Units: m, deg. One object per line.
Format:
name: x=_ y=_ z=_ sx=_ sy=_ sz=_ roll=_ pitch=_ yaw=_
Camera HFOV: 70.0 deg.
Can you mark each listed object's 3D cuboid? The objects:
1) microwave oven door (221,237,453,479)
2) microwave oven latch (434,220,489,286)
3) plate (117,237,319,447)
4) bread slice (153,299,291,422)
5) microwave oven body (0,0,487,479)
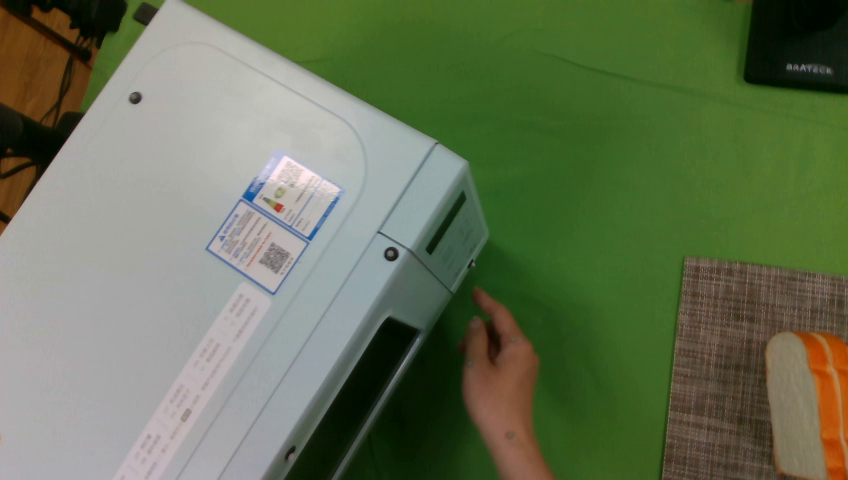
microwave oven door: x=-0.096 y=0.171 z=0.528 sx=0.039 sy=0.245 sz=0.355 roll=31 pitch=85 yaw=16
microwave oven latch: x=0.039 y=0.009 z=0.643 sx=0.030 sy=0.029 sz=0.079 roll=33 pitch=86 yaw=14
plate: x=-0.205 y=0.102 z=0.620 sx=0.207 sy=0.039 sz=0.206 roll=-1 pitch=78 yaw=6
bread slice: x=-0.206 y=0.130 z=0.618 sx=0.134 sy=0.018 sz=0.106 roll=-16 pitch=76 yaw=-2
microwave oven body: x=-0.195 y=0.065 z=0.572 sx=0.324 sy=0.261 sz=0.441 roll=31 pitch=86 yaw=14
